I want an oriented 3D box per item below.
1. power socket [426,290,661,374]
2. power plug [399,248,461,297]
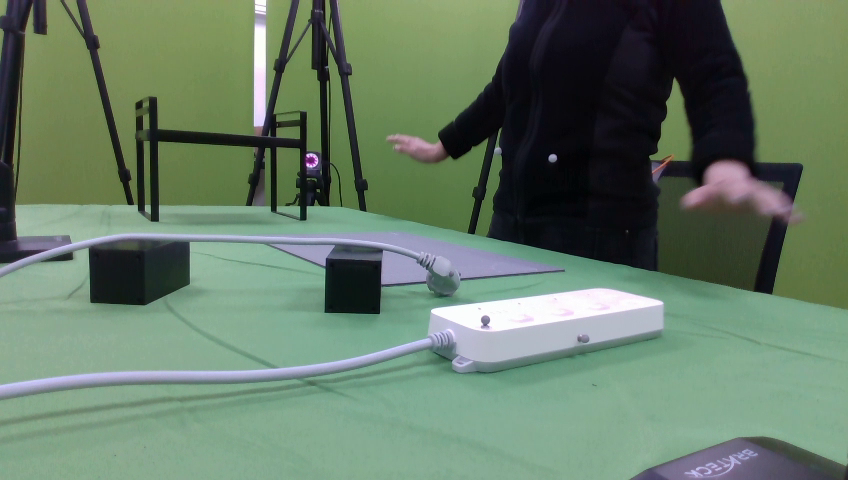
[{"bbox_3d":[0.102,0.067,0.483,0.228,0.032,0.072,-3,8,-35],"label":"power socket"},{"bbox_3d":[0.006,0.031,0.634,0.072,0.035,0.052,37,-33,4],"label":"power plug"}]
